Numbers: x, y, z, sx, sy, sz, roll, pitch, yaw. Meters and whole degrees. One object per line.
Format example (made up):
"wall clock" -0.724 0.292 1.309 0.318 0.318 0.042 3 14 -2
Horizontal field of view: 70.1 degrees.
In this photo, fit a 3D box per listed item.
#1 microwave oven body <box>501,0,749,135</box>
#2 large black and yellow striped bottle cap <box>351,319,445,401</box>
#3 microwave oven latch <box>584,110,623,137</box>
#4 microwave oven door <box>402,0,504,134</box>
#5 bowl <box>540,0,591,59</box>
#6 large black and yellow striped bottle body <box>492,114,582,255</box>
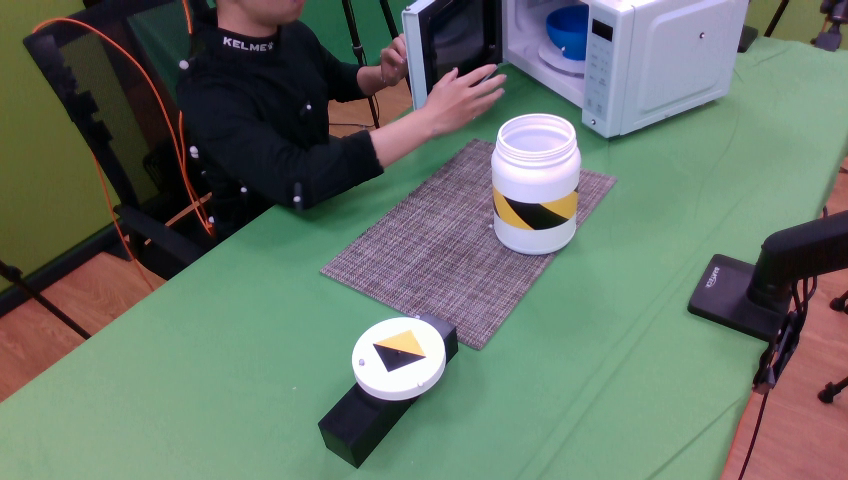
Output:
"microwave oven body" 0.382 -0.444 1.246 0.327 0.261 0.437 -22 42 -16
"large black and yellow striped bottle cap" -0.031 0.143 0.734 0.115 0.019 0.114 -3 40 3
"microwave oven latch" 0.337 -0.222 1.142 0.030 0.029 0.078 -21 42 -14
"microwave oven door" 0.073 -0.411 1.244 0.039 0.245 0.356 17 46 26
"bowl" 0.328 -0.436 1.279 0.151 0.077 0.150 -13 39 12
"large black and yellow striped bottle body" 0.169 -0.083 0.912 0.131 0.185 0.130 -4 41 4
